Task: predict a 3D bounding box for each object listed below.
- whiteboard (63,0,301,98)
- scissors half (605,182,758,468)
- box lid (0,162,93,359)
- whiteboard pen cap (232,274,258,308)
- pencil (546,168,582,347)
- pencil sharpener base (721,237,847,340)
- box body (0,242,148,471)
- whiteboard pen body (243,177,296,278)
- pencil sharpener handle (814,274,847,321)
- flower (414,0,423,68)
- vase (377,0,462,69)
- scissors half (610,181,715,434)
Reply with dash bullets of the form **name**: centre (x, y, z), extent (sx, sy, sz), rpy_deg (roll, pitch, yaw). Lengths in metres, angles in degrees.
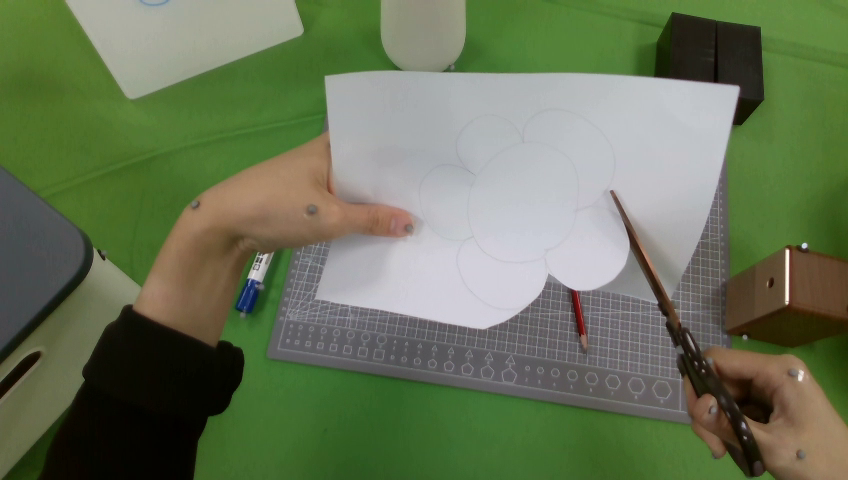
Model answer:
- **whiteboard**: centre (-0.291, -0.346, 0.627), extent (0.217, 0.308, 0.142), rpy_deg (-25, 52, -9)
- **scissors half**: centre (0.141, 0.046, 0.336), extent (0.013, 0.040, 0.174), rpy_deg (-26, 85, 5)
- **box lid**: centre (-0.468, 0.000, 0.458), extent (0.370, 0.015, 0.262), rpy_deg (34, 72, 11)
- **whiteboard pen cap**: centre (-0.176, 0.049, 0.601), extent (0.018, 0.018, 0.033), rpy_deg (14, 66, 5)
- **pencil**: centre (0.146, 0.015, 0.626), extent (0.012, 0.012, 0.192), rpy_deg (-5, 71, -3)
- **pencil sharpener base**: centre (0.341, 0.049, 0.567), extent (0.077, 0.107, 0.061), rpy_deg (12, 69, 0)
- **box body**: centre (-0.467, 0.027, 0.527), extent (0.362, 0.161, 0.253), rpy_deg (34, 73, 11)
- **whiteboard pen body**: centre (-0.162, -0.004, 0.622), extent (0.017, 0.017, 0.140), rpy_deg (15, 68, 5)
- **pencil sharpener handle**: centre (0.391, 0.057, 0.555), extent (0.030, 0.068, 0.035), rpy_deg (12, 63, 0)
- **flower**: centre (-0.009, -0.314, 0.557), extent (0.044, 0.365, 0.038), rpy_deg (2, 51, 3)
- **vase**: centre (-0.005, -0.271, 0.630), extent (0.098, 0.201, 0.097), rpy_deg (0, 68, 0)
- **scissors half**: centre (0.143, 0.042, 0.357), extent (0.013, 0.040, 0.176), rpy_deg (-25, 108, 10)
